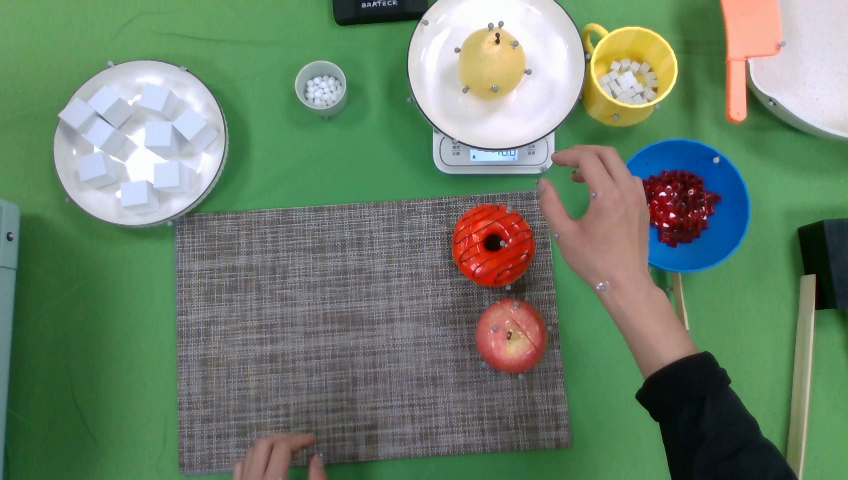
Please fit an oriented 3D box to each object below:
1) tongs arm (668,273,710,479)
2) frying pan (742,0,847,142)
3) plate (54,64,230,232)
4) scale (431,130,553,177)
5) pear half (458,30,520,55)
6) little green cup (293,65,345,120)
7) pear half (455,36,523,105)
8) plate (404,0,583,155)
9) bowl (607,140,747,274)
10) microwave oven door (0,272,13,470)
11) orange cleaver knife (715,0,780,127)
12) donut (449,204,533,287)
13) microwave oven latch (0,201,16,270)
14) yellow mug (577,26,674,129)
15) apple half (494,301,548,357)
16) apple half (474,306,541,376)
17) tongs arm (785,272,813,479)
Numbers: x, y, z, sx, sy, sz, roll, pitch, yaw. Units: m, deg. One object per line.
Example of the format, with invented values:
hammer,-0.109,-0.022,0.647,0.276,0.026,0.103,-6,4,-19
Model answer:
tongs arm,0.326,0.224,0.681,0.051,0.026,0.383,-4,82,-5
frying pan,0.557,-0.166,0.702,0.307,0.103,0.484,-31,74,-3
plate,-0.336,-0.109,0.736,0.208,0.039,0.207,0,81,1
scale,0.082,-0.178,0.745,0.149,0.031,0.200,0,82,1
pear half,0.072,-0.219,0.684,0.070,0.088,0.031,-8,81,2
little green cup,-0.126,-0.178,0.744,0.061,0.039,0.061,0,81,1
pear half,0.074,-0.186,0.669,0.076,0.110,0.056,-8,81,3
plate,0.081,-0.198,0.715,0.209,0.038,0.208,0,81,0
bowl,0.278,-0.031,0.698,0.151,0.077,0.151,0,82,1
microwave oven door,-0.494,0.195,0.570,0.039,0.244,0.354,-2,81,0
orange cleaver knife,0.369,-0.233,0.696,0.077,0.012,0.210,0,82,3
donut,0.077,0.007,0.707,0.099,0.048,0.098,0,82,3
microwave oven latch,-0.496,-0.005,0.703,0.030,0.029,0.079,0,82,0
yellow mug,0.230,-0.204,0.730,0.100,0.064,0.130,-37,82,-4
apple half,0.115,0.092,0.678,0.033,0.081,0.081,-42,83,-2
apple half,0.085,0.119,0.676,0.053,0.075,0.080,-40,85,-2
tongs arm,0.412,0.226,0.684,0.028,0.028,0.386,11,82,-6
